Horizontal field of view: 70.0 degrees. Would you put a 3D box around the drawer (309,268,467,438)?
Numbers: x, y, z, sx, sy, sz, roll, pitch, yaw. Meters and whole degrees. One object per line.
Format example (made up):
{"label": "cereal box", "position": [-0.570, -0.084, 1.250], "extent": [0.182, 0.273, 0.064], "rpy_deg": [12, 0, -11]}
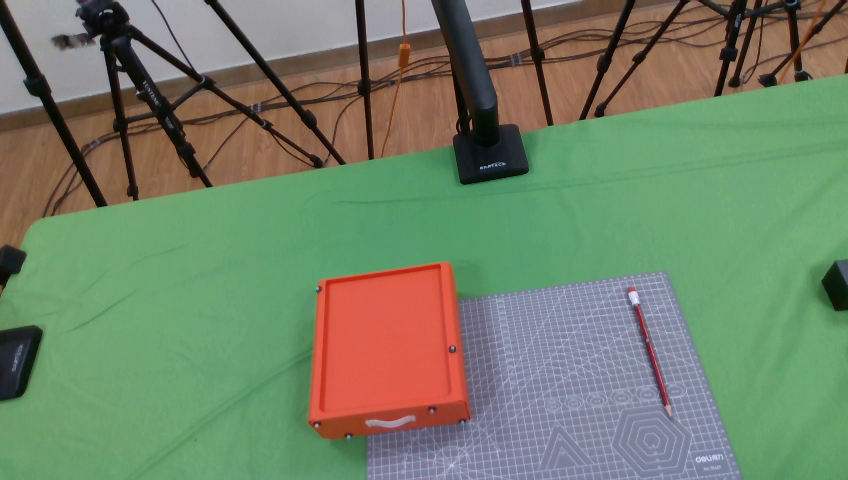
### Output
{"label": "drawer", "position": [-0.051, 0.151, 0.830], "extent": [0.194, 0.074, 0.209], "rpy_deg": [-9, 52, 5]}

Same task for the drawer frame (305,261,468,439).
{"label": "drawer frame", "position": [-0.053, 0.149, 0.830], "extent": [0.201, 0.083, 0.211], "rpy_deg": [-10, 53, 5]}

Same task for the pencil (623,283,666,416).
{"label": "pencil", "position": [0.297, 0.142, 0.816], "extent": [0.012, 0.012, 0.192], "rpy_deg": [-8, 56, 5]}
